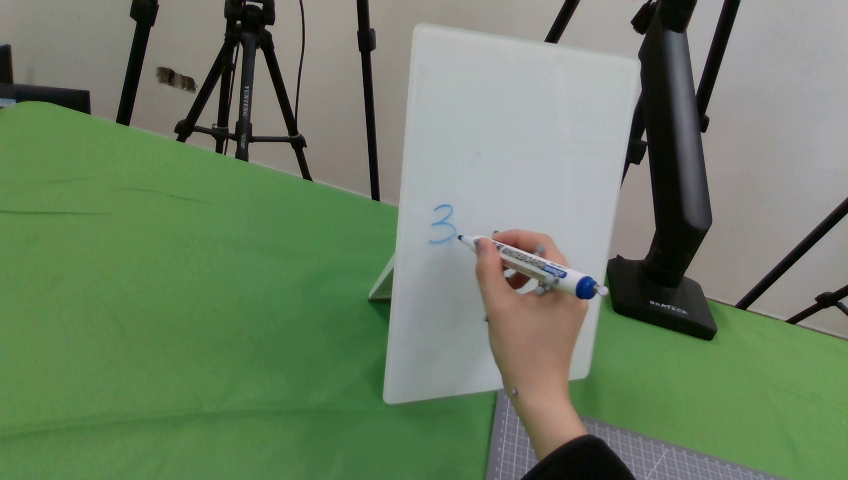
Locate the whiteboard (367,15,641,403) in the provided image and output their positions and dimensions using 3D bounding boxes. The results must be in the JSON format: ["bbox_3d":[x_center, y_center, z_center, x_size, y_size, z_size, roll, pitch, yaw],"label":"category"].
[{"bbox_3d":[0.051,-0.031,0.569,0.218,0.306,0.142,-1,15,-25],"label":"whiteboard"}]

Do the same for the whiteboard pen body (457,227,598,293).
[{"bbox_3d":[0.065,0.009,0.426,0.017,0.017,0.139,-7,19,-33],"label":"whiteboard pen body"}]
